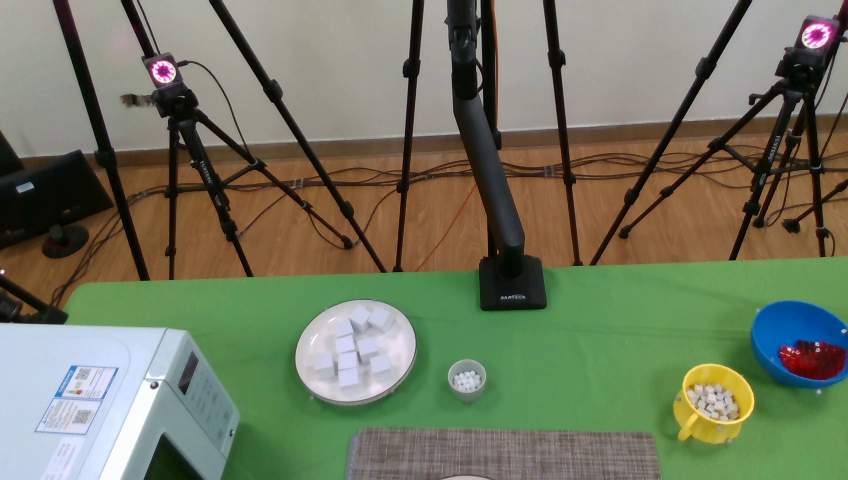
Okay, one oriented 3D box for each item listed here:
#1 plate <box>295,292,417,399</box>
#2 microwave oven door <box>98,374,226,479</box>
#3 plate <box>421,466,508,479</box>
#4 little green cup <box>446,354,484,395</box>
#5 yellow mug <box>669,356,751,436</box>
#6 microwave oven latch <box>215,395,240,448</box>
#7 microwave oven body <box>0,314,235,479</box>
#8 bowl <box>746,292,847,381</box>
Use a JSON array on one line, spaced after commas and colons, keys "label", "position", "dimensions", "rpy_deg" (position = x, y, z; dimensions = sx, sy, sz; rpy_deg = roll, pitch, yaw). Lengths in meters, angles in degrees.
[{"label": "plate", "position": [-0.114, 0.182, 1.037], "dimensions": [0.207, 0.039, 0.205], "rpy_deg": [-3, 47, 4]}, {"label": "microwave oven door", "position": [-0.342, 0.373, 0.721], "dimensions": [0.039, 0.246, 0.352], "rpy_deg": [0, 48, 7]}, {"label": "plate", "position": [0.055, 0.408, 0.805], "dimensions": [0.209, 0.038, 0.207], "rpy_deg": [-3, 48, 4]}, {"label": "little green cup", "position": [0.067, 0.220, 0.982], "dimensions": [0.061, 0.039, 0.061], "rpy_deg": [-3, 47, 4]}, {"label": "yellow mug", "position": [0.416, 0.242, 0.905], "dimensions": [0.131, 0.064, 0.099], "rpy_deg": [-35, 53, -22]}, {"label": "microwave oven latch", "position": [-0.311, 0.280, 0.941], "dimensions": [0.030, 0.030, 0.078], "rpy_deg": [2, 49, 7]}, {"label": "microwave oven body", "position": [-0.482, 0.344, 0.769], "dimensions": [0.326, 0.263, 0.437], "rpy_deg": [1, 49, 6]}, {"label": "bowl", "position": [0.578, 0.165, 0.950], "dimensions": [0.151, 0.077, 0.150], "rpy_deg": [-3, 48, 4]}]
